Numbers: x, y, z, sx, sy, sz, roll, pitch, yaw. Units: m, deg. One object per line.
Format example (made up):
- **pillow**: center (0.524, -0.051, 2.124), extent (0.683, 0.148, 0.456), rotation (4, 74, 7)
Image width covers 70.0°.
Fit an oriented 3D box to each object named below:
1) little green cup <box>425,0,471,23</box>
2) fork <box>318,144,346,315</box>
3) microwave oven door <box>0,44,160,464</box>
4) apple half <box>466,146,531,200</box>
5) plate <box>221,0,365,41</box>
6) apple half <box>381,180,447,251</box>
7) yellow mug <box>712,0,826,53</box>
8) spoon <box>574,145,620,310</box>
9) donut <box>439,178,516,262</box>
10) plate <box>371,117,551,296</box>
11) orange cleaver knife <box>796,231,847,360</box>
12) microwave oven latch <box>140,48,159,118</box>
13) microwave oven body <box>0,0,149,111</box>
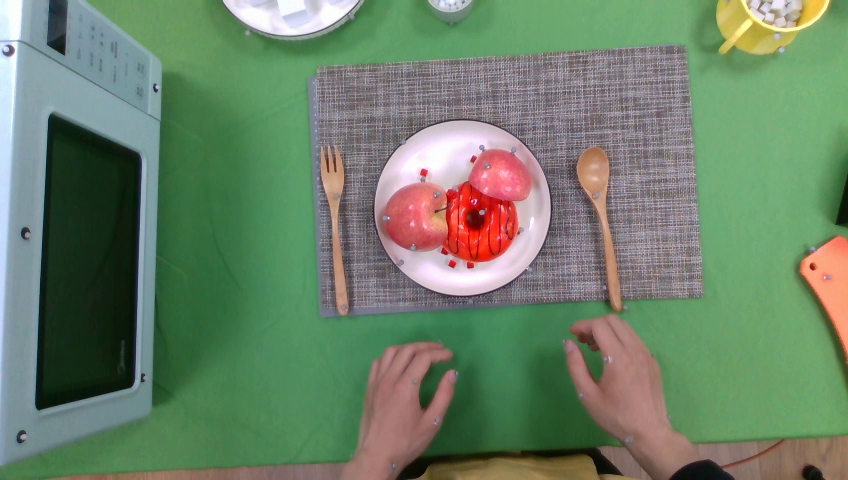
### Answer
- **little green cup**: center (0.030, -0.298, 0.737), extent (0.061, 0.039, 0.061), rotation (0, 85, 5)
- **fork**: center (-0.108, -0.013, 0.729), extent (0.028, 0.018, 0.206), rotation (-5, 83, -2)
- **microwave oven door**: center (-0.348, 0.019, 0.617), extent (0.039, 0.244, 0.355), rotation (-1, 85, 4)
- **apple half**: center (0.090, -0.082, 0.685), extent (0.081, 0.033, 0.080), rotation (8, 47, -9)
- **plate**: center (-0.158, -0.345, 0.754), extent (0.207, 0.039, 0.207), rotation (0, 85, 4)
- **apple half**: center (-0.017, -0.029, 0.684), extent (0.074, 0.054, 0.080), rotation (-5, 82, 44)
- **yellow mug**: center (0.384, -0.265, 0.695), extent (0.099, 0.064, 0.131), rotation (44, 91, 6)
- **spoon**: center (0.207, -0.015, 0.705), extent (0.042, 0.021, 0.193), rotation (-8, 84, -19)
- **donut**: center (0.057, -0.024, 0.698), extent (0.099, 0.048, 0.099), rotation (0, 88, 5)
- **plate**: center (0.043, -0.039, 0.711), extent (0.209, 0.038, 0.208), rotation (0, 86, 4)
- **orange cleaver knife**: center (0.489, 0.095, 0.682), extent (0.077, 0.012, 0.210), rotation (-18, 83, -3)
- **microwave oven latch**: center (-0.340, -0.190, 0.735), extent (0.030, 0.029, 0.079), rotation (0, 86, 4)
- **microwave oven body**: center (-0.494, -0.021, 0.635), extent (0.326, 0.261, 0.440), rotation (-1, 86, 4)
